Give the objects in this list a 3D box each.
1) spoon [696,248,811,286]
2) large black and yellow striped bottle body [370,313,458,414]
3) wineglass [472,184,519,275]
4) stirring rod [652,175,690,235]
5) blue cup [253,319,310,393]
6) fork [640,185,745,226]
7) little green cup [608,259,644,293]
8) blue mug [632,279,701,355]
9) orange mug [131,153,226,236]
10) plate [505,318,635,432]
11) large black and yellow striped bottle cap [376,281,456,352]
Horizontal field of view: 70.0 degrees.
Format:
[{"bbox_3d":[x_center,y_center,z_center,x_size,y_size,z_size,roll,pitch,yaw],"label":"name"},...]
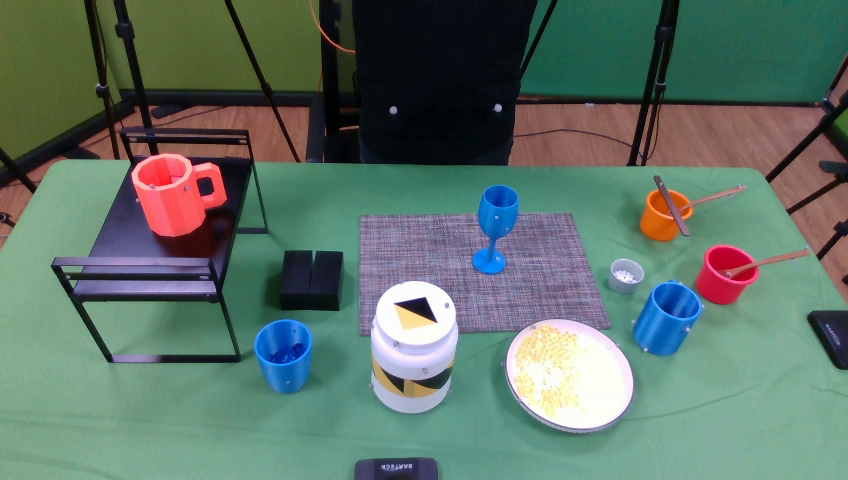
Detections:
[{"bbox_3d":[0.600,0.048,1.112,0.193,0.022,0.041,-25,32,35],"label":"spoon"},{"bbox_3d":[-0.017,0.165,0.924,0.131,0.185,0.130,2,46,-2],"label":"large black and yellow striped bottle body"},{"bbox_3d":[0.129,-0.018,1.113,0.074,0.173,0.073,2,46,-2],"label":"wineglass"},{"bbox_3d":[0.491,-0.072,1.211,0.014,0.006,0.175,-1,46,-6],"label":"stirring rod"},{"bbox_3d":[-0.217,0.187,0.943,0.093,0.101,0.092,3,45,-3],"label":"blue cup"},{"bbox_3d":[0.534,-0.068,1.215,0.207,0.019,0.028,-26,27,33],"label":"fork"},{"bbox_3d":[0.379,0.070,1.147,0.061,0.039,0.061,3,45,-2],"label":"little green cup"},{"bbox_3d":[0.419,0.124,1.052,0.082,0.106,0.116,14,46,9],"label":"blue mug"},{"bbox_3d":[-0.375,-0.075,0.937,0.126,0.101,0.083,-20,50,-17],"label":"orange mug"},{"bbox_3d":[0.235,0.221,0.991,0.209,0.038,0.208,2,45,-2],"label":"plate"},{"bbox_3d":[-0.011,0.107,0.863,0.115,0.019,0.114,2,47,-2],"label":"large black and yellow striped bottle cap"}]
